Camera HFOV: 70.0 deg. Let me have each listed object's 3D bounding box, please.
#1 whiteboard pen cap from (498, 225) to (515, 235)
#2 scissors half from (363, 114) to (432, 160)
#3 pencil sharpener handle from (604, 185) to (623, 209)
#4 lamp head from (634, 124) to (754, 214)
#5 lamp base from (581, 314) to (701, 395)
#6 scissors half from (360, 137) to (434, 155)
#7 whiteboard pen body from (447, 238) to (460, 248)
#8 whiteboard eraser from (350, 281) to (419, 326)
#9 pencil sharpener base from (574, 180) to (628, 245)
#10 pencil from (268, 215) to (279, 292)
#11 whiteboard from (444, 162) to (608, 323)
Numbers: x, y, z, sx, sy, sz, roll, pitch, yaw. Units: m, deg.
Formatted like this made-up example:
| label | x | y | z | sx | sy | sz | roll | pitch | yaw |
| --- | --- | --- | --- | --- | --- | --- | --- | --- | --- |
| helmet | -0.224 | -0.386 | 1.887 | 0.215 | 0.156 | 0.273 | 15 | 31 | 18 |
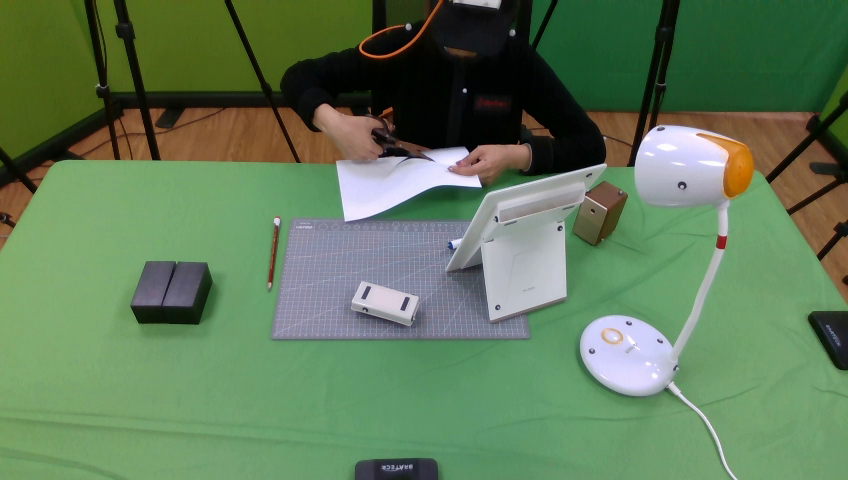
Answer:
| label | x | y | z | sx | sy | sz | roll | pitch | yaw |
| --- | --- | --- | --- | --- | --- | --- | --- | --- | --- |
| whiteboard pen cap | 0.166 | -0.019 | 1.222 | 0.033 | 0.018 | 0.018 | -14 | 49 | -19 |
| scissors half | -0.057 | -0.221 | 1.312 | 0.175 | 0.040 | 0.013 | 34 | 47 | -2 |
| pencil sharpener handle | 0.390 | -0.091 | 1.235 | 0.030 | 0.068 | 0.036 | -34 | 69 | -31 |
| lamp head | 0.351 | -0.089 | 0.775 | 0.112 | 0.113 | 0.122 | -30 | 30 | -28 |
| lamp base | 0.361 | 0.145 | 0.972 | 0.178 | 0.181 | 0.160 | 34 | 53 | 23 |
| scissors half | -0.060 | -0.203 | 1.328 | 0.175 | 0.040 | 0.012 | 6 | 37 | 23 |
| whiteboard pen body | 0.112 | -0.005 | 1.204 | 0.141 | 0.017 | 0.017 | -14 | 49 | -18 |
| whiteboard eraser | -0.069 | 0.113 | 1.065 | 0.112 | 0.042 | 0.055 | 14 | 46 | 9 |
| pencil sharpener base | 0.355 | -0.056 | 1.217 | 0.076 | 0.107 | 0.061 | -33 | 56 | -31 |
| pencil | -0.290 | 0.022 | 1.164 | 0.012 | 0.012 | 0.192 | -2 | 48 | -6 |
| whiteboard | 0.186 | 0.025 | 1.029 | 0.217 | 0.306 | 0.143 | -14 | 68 | -17 |
